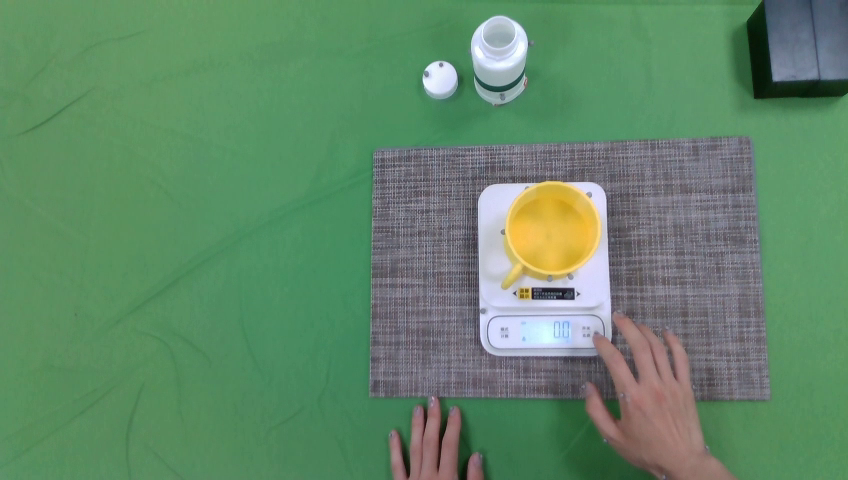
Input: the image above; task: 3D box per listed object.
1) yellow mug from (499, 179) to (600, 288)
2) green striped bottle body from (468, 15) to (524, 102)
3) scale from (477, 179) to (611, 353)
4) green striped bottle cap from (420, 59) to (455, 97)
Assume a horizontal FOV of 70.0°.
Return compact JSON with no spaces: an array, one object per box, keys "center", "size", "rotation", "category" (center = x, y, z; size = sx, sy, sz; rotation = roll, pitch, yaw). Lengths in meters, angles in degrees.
[{"center":[0.125,0.001,0.657],"size":[0.099,0.064,0.131],"rotation":[39,88,10],"category":"yellow mug"},{"center":[0.083,-0.211,0.701],"size":[0.063,0.120,0.063],"rotation":[-1,80,7],"category":"green striped bottle body"},{"center":[0.137,0.029,0.700],"size":[0.148,0.032,0.200],"rotation":[-2,82,6],"category":"scale"},{"center":[0.017,-0.203,0.761],"size":[0.044,0.020,0.044],"rotation":[0,87,5],"category":"green striped bottle cap"}]
